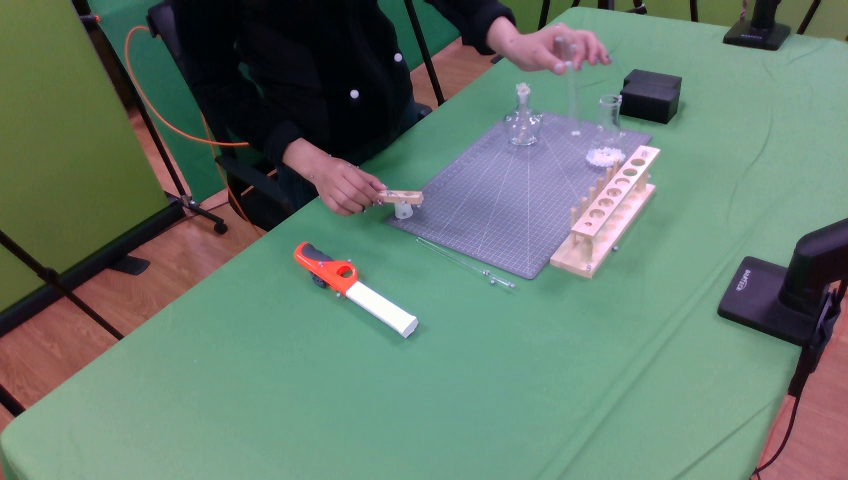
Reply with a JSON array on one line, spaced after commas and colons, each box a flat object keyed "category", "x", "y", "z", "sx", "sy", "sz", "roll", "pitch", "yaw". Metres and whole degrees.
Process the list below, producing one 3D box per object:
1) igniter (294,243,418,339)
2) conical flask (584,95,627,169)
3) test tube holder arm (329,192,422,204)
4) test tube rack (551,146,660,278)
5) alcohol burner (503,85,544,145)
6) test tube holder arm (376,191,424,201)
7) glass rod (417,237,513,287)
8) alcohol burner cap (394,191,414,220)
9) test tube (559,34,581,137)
[{"category": "igniter", "x": -0.114, "y": 0.070, "z": 0.919, "sx": 0.274, "sy": 0.025, "sz": 0.057, "roll": 29, "pitch": 63, "yaw": 37}, {"category": "conical flask", "x": 0.324, "y": -0.192, "z": 1.066, "sx": 0.075, "sy": 0.122, "sz": 0.075, "roll": -6, "pitch": 40, "yaw": 5}, {"category": "test tube holder arm", "x": -0.082, "y": -0.069, "z": 0.979, "sx": 0.177, "sy": 0.015, "sz": 0.013, "roll": 3, "pitch": 32, "yaw": 28}, {"category": "test tube rack", "x": 0.286, "y": -0.053, "z": 0.943, "sx": 0.066, "sy": 0.085, "sz": 0.243, "roll": 21, "pitch": 49, "yaw": 32}, {"category": "alcohol burner", "x": 0.191, "y": -0.243, "z": 1.160, "sx": 0.078, "sy": 0.119, "sz": 0.077, "roll": -4, "pitch": 40, "yaw": 4}, {"category": "test tube holder arm", "x": -0.040, "y": -0.069, "z": 0.961, "sx": 0.087, "sy": 0.015, "sz": 0.010, "roll": 3, "pitch": 33, "yaw": 29}, {"category": "glass rod", "x": 0.058, "y": 0.032, "z": 0.944, "sx": 0.198, "sy": 0.008, "sz": 0.008, "roll": 26, "pitch": 52, "yaw": 37}, {"category": "alcohol burner cap", "x": -0.037, "y": -0.062, "z": 1.045, "sx": 0.034, "sy": 0.048, "sz": 0.033, "roll": -5, "pitch": 40, "yaw": 4}, {"category": "test tube", "x": 0.208, "y": -0.216, "z": 0.856, "sx": 0.017, "sy": 0.151, "sz": 0.017, "roll": -12, "pitch": 31, "yaw": 7}]
